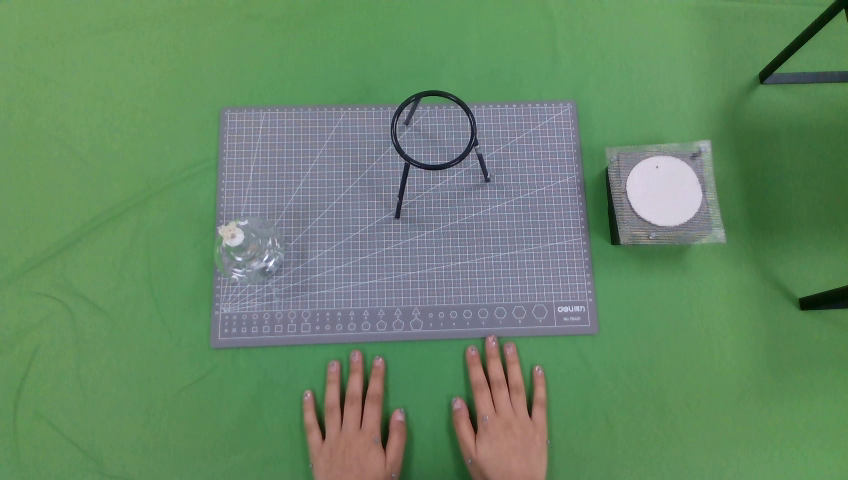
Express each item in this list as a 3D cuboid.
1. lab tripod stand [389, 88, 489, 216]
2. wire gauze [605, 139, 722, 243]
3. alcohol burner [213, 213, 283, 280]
[{"bbox_3d":[0.006,-0.104,0.686,0.148,0.132,0.147,0,76,1],"label":"lab tripod stand"},{"bbox_3d":[0.277,-0.056,0.700,0.125,0.011,0.121,-2,79,-2],"label":"wire gauze"},{"bbox_3d":[-0.197,0.004,0.664,0.078,0.119,0.077,0,78,-2],"label":"alcohol burner"}]
